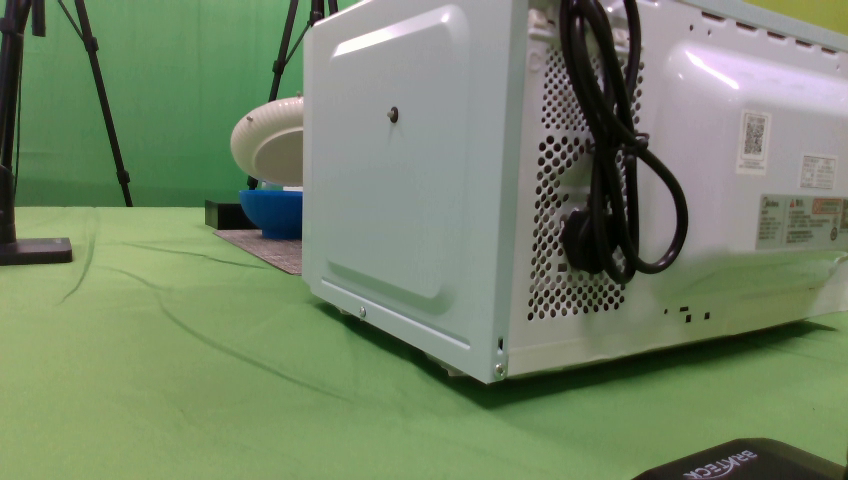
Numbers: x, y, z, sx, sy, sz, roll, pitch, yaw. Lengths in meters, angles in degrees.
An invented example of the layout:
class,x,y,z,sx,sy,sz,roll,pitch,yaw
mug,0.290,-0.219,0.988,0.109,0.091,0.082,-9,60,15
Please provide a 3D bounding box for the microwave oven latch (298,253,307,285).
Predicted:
class,x,y,z,sx,sy,sz,roll,pitch,yaw
microwave oven latch,-0.081,0.027,0.582,0.079,0.029,0.030,-1,7,-32

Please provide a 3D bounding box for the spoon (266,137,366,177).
class,x,y,z,sx,sy,sz,roll,pitch,yaw
spoon,-0.178,-0.145,1.032,0.194,0.021,0.041,-28,45,-28

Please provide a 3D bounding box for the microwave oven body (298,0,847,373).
class,x,y,z,sx,sy,sz,roll,pitch,yaw
microwave oven body,0.151,-0.055,0.542,0.444,0.260,0.324,-2,7,-33

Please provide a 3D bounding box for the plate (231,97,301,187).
class,x,y,z,sx,sy,sz,roll,pitch,yaw
plate,-0.188,-0.139,0.933,0.209,0.038,0.209,-13,-25,-6

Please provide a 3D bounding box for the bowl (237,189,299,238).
class,x,y,z,sx,sy,sz,roll,pitch,yaw
bowl,-0.245,-0.046,1.053,0.151,0.077,0.151,3,8,0

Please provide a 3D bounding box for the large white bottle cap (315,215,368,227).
class,x,y,z,sx,sy,sz,roll,pitch,yaw
large white bottle cap,-0.177,-0.041,1.309,0.115,0.018,0.115,2,6,0

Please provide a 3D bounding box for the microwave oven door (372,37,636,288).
class,x,y,z,sx,sy,sz,roll,pitch,yaw
microwave oven door,0.110,-0.080,0.686,0.358,0.243,0.039,-2,9,-33

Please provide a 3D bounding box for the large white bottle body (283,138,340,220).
class,x,y,z,sx,sy,sz,roll,pitch,yaw
large white bottle body,-0.265,-0.144,1.424,0.131,0.184,0.130,2,7,0
